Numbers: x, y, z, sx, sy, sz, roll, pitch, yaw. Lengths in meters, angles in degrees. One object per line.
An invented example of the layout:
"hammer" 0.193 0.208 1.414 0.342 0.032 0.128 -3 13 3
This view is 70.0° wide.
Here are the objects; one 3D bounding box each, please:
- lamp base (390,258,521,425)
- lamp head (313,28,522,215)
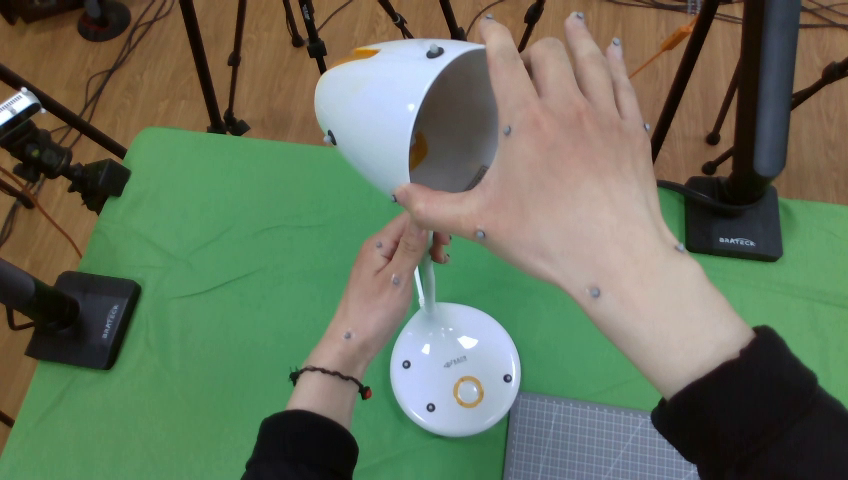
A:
"lamp base" 0.027 0.104 0.678 0.160 0.182 0.177 -31 65 -11
"lamp head" -0.012 -0.084 0.400 0.122 0.113 0.112 24 67 40
